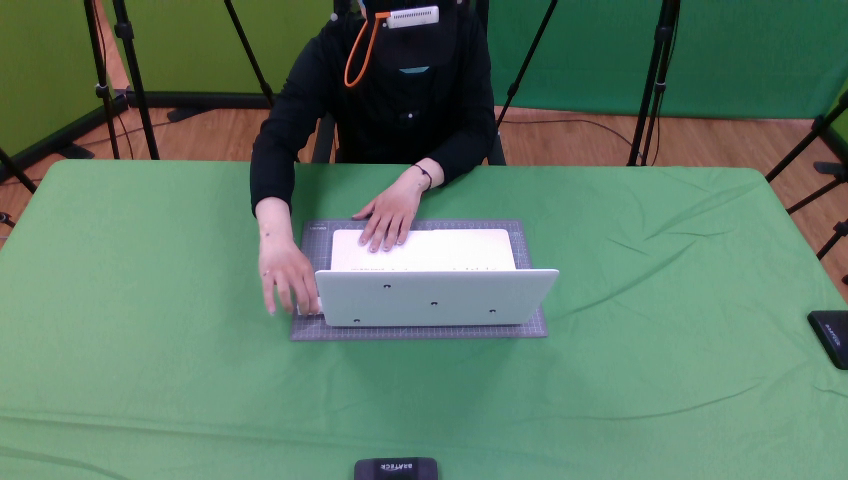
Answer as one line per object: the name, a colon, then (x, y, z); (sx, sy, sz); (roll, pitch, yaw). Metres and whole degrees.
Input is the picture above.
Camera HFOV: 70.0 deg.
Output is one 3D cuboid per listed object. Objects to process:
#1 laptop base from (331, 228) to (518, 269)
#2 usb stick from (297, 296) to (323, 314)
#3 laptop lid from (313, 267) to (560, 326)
laptop base: (0.003, 0.063, 1.135); (0.355, 0.023, 0.234); (0, 42, -4)
usb stick: (-0.190, 0.114, 1.056); (0.059, 0.027, 0.021); (0, 45, -7)
laptop lid: (0.015, 0.094, 0.949); (0.357, 0.242, 0.013); (0, 63, -5)
